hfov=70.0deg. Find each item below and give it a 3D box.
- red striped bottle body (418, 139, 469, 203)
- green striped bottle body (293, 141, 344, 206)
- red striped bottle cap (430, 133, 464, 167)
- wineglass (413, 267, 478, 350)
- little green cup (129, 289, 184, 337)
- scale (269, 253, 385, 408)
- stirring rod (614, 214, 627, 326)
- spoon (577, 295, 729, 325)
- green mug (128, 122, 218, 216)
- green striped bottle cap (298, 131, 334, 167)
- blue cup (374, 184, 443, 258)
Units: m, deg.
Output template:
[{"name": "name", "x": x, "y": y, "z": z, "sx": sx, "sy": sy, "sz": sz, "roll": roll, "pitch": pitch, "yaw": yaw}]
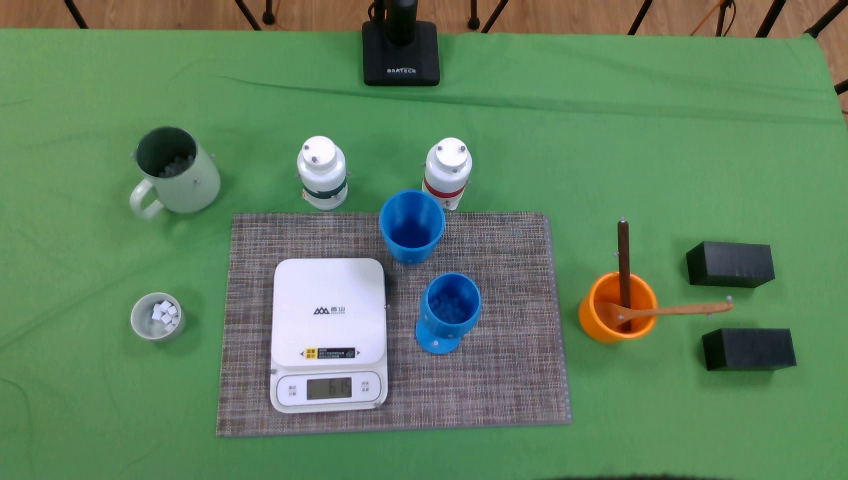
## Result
[{"name": "red striped bottle body", "x": 0.027, "y": -0.101, "z": 0.845, "sx": 0.063, "sy": 0.120, "sz": 0.062, "roll": 2, "pitch": 70, "yaw": -5}, {"name": "green striped bottle body", "x": -0.143, "y": -0.097, "z": 0.828, "sx": 0.063, "sy": 0.120, "sz": 0.063, "roll": 2, "pitch": 70, "yaw": -5}, {"name": "red striped bottle cap", "x": 0.031, "y": -0.119, "z": 0.795, "sx": 0.044, "sy": 0.018, "sz": 0.044, "roll": 2, "pitch": 69, "yaw": -4}, {"name": "wineglass", "x": 0.022, "y": 0.089, "z": 0.747, "sx": 0.074, "sy": 0.173, "sz": 0.073, "roll": 2, "pitch": 70, "yaw": -4}, {"name": "little green cup", "x": -0.343, "y": 0.097, "z": 0.784, "sx": 0.061, "sy": 0.039, "sz": 0.061, "roll": 2, "pitch": 70, "yaw": -5}, {"name": "scale", "x": -0.128, "y": 0.115, "z": 0.799, "sx": 0.149, "sy": 0.032, "sz": 0.199, "roll": -1, "pitch": 72, "yaw": -6}, {"name": "stirring rod", "x": 0.260, "y": 0.044, "z": 0.801, "sx": 0.014, "sy": 0.177, "sz": 0.006, "roll": 6, "pitch": 34, "yaw": 27}, {"name": "spoon", "x": 0.293, "y": 0.087, "z": 0.791, "sx": 0.022, "sy": 0.193, "sz": 0.041, "roll": 12, "pitch": 73, "yaw": -48}, {"name": "green mug", "x": -0.344, "y": -0.085, "z": 0.812, "sx": 0.092, "sy": 0.105, "sz": 0.125, "roll": 33, "pitch": 71, "yaw": 6}, {"name": "green striped bottle cap", "x": -0.138, "y": -0.117, "z": 0.775, "sx": 0.044, "sy": 0.020, "sz": 0.044, "roll": 1, "pitch": 70, "yaw": -3}, {"name": "blue cup", "x": -0.022, "y": -0.017, "z": 0.818, "sx": 0.093, "sy": 0.100, "sz": 0.092, "roll": 1, "pitch": 73, "yaw": -4}]
